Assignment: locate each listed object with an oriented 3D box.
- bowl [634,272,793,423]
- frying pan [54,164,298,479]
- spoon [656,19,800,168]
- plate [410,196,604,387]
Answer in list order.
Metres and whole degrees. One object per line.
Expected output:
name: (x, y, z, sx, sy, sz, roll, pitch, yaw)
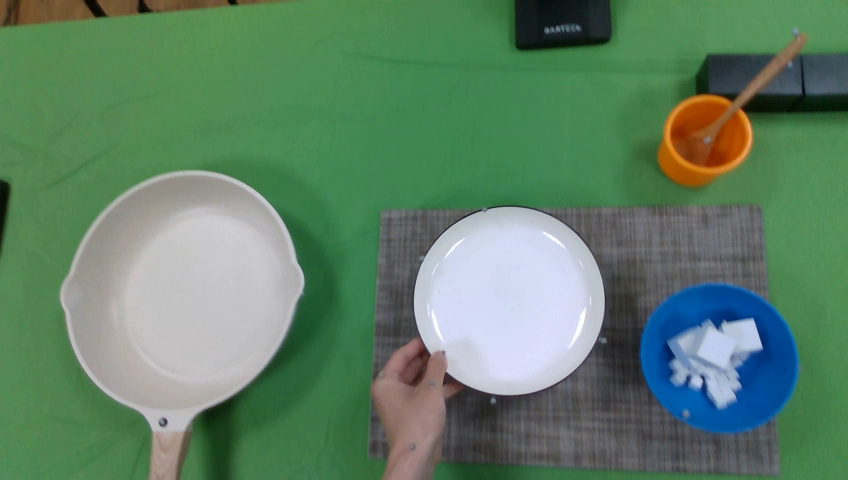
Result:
bowl: (0.294, 0.113, 0.642, 0.151, 0.077, 0.150, -2, 79, 8)
frying pan: (-0.292, 0.153, 0.708, 0.306, 0.103, 0.484, -3, 71, 8)
spoon: (0.325, -0.153, 0.656, 0.022, 0.194, 0.041, -23, 66, -43)
plate: (0.089, 0.056, 0.667, 0.207, 0.039, 0.206, -2, 78, 9)
